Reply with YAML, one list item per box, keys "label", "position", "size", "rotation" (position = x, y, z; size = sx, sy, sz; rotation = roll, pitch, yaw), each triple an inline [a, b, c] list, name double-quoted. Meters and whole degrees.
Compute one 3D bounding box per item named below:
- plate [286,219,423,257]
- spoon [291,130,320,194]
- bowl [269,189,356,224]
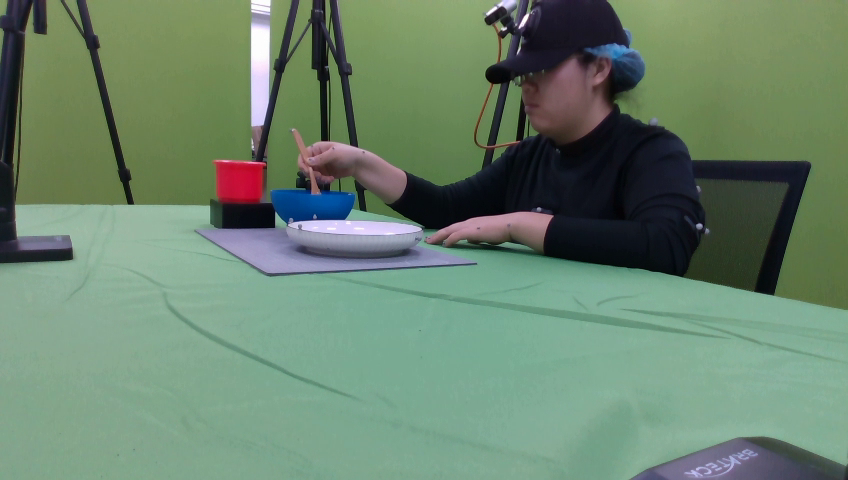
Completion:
- label: "plate"
  position: [-0.105, -0.004, 0.922]
  size: [0.208, 0.039, 0.207]
  rotation: [3, 8, 0]
- label: "spoon"
  position: [-0.210, -0.119, 1.114]
  size: [0.042, 0.193, 0.021]
  rotation: [-10, -13, -39]
- label: "bowl"
  position: [-0.199, -0.049, 1.080]
  size: [0.151, 0.077, 0.151]
  rotation: [3, 7, 0]
